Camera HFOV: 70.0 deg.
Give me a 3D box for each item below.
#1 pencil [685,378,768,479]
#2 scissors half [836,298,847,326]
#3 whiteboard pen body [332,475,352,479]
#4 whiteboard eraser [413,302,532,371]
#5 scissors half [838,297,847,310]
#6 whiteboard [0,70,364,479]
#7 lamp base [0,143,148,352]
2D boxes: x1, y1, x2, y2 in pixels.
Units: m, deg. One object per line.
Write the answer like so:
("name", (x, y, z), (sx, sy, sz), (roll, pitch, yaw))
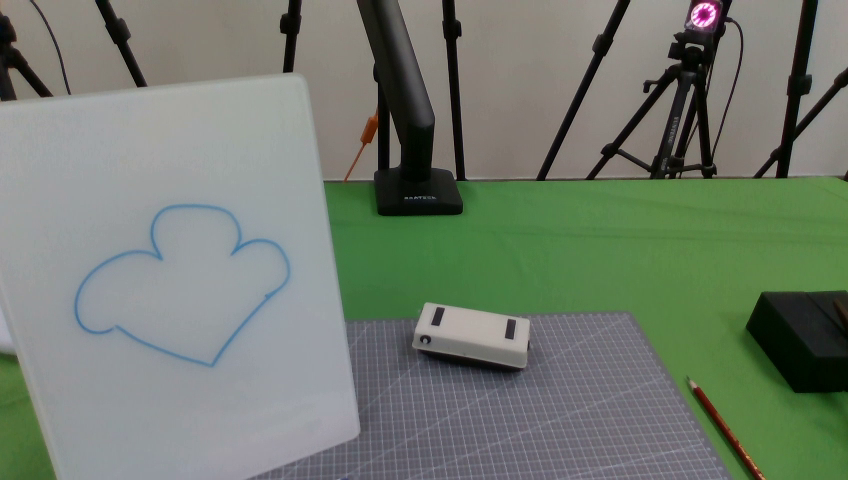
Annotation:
("pencil", (0.278, 0.188, 0.525), (0.012, 0.012, 0.192), (-3, 32, -10))
("scissors half", (0.422, 0.114, 0.555), (0.013, 0.040, 0.173), (0, 37, 3))
("whiteboard pen body", (-0.118, 0.202, 0.437), (0.141, 0.017, 0.017), (-14, 37, -24))
("whiteboard eraser", (0.049, 0.096, 0.601), (0.112, 0.042, 0.055), (9, 34, 8))
("scissors half", (0.424, 0.128, 0.570), (0.013, 0.040, 0.173), (-3, 55, 7))
("whiteboard", (-0.192, 0.033, 0.488), (0.218, 0.307, 0.142), (-14, 18, -24))
("lamp base", (-0.380, -0.010, 0.591), (0.178, 0.181, 0.160), (21, 37, 28))
